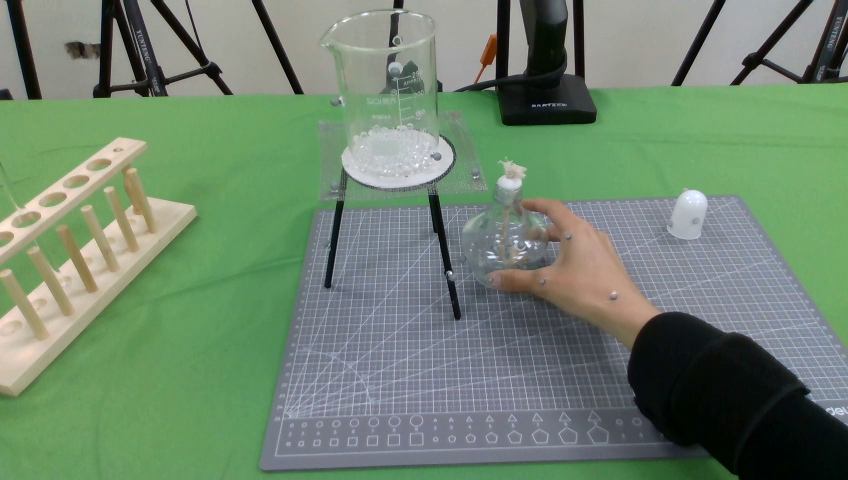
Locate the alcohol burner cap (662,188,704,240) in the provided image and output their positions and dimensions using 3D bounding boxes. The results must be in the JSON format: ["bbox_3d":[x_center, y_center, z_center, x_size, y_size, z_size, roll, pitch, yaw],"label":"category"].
[{"bbox_3d":[0.253,-0.028,0.587,0.034,0.048,0.033,-1,40,1],"label":"alcohol burner cap"}]

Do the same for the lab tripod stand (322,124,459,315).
[{"bbox_3d":[-0.022,-0.019,0.514,0.148,0.133,0.147,-1,42,2],"label":"lab tripod stand"}]

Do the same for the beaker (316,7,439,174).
[{"bbox_3d":[-0.029,-0.106,0.440,0.084,0.101,0.073,-6,40,-3],"label":"beaker"}]

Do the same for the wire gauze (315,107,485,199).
[{"bbox_3d":[-0.024,-0.068,0.472,0.125,0.011,0.120,-7,38,-2],"label":"wire gauze"}]

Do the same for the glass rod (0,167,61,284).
[{"bbox_3d":[-0.341,-0.044,0.493,0.008,0.201,0.008,-4,34,3],"label":"glass rod"}]

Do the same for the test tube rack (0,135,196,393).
[{"bbox_3d":[-0.311,0.007,0.535,0.066,0.086,0.241,11,42,15],"label":"test tube rack"}]

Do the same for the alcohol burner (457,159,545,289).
[{"bbox_3d":[0.067,-0.017,0.524,0.078,0.120,0.077,-1,38,1],"label":"alcohol burner"}]
